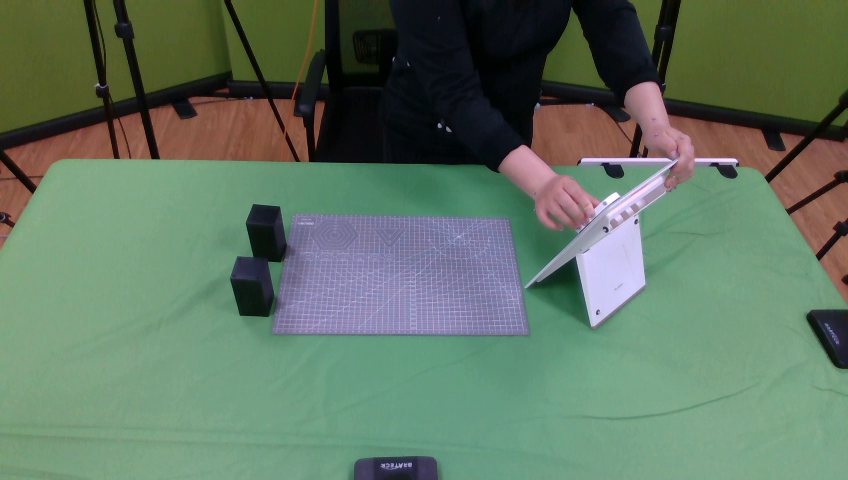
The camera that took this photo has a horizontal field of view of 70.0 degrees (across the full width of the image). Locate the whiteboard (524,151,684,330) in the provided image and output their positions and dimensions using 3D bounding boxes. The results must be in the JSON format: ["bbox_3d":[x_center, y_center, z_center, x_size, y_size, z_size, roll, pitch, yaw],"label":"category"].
[{"bbox_3d":[0.346,0.025,1.047,0.217,0.306,0.143,-30,73,-30],"label":"whiteboard"}]

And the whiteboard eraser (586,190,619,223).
[{"bbox_3d":[0.282,-0.041,0.973,0.019,0.101,0.041,42,54,17],"label":"whiteboard eraser"}]
